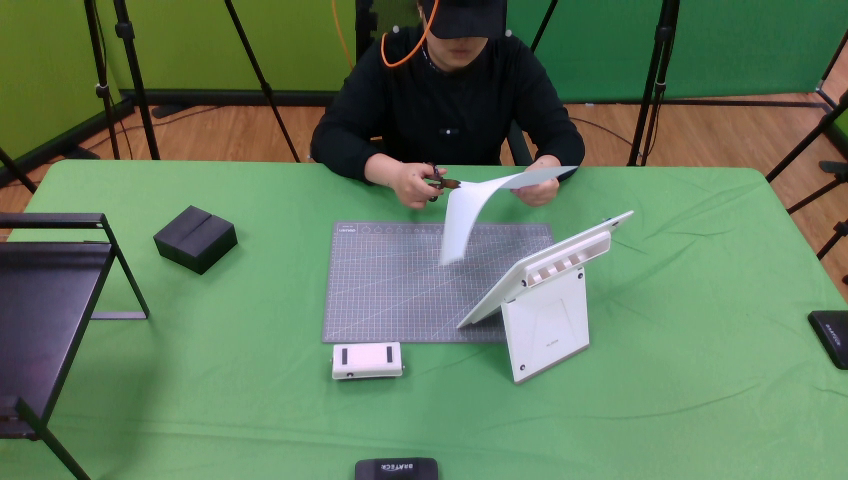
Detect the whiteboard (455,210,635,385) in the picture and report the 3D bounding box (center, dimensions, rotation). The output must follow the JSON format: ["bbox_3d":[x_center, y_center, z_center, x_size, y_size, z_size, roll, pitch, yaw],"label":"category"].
[{"bbox_3d":[0.211,0.111,0.955,0.217,0.306,0.143,-21,71,-23],"label":"whiteboard"}]

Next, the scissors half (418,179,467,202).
[{"bbox_3d":[0.035,-0.099,1.171,0.013,0.175,0.040,-11,91,-29],"label":"scissors half"}]

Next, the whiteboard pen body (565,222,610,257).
[{"bbox_3d":[0.335,-0.004,1.228,0.141,0.017,0.017,-33,56,-29],"label":"whiteboard pen body"}]

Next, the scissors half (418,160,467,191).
[{"bbox_3d":[0.035,-0.121,1.166,0.013,0.040,0.174,-5,24,-30],"label":"scissors half"}]

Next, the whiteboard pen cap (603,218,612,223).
[{"bbox_3d":[0.379,-0.031,1.255,0.033,0.018,0.018,-33,56,-30],"label":"whiteboard pen cap"}]

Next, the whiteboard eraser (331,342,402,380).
[{"bbox_3d":[-0.094,0.198,0.986,0.113,0.042,0.055,-2,44,-6],"label":"whiteboard eraser"}]
